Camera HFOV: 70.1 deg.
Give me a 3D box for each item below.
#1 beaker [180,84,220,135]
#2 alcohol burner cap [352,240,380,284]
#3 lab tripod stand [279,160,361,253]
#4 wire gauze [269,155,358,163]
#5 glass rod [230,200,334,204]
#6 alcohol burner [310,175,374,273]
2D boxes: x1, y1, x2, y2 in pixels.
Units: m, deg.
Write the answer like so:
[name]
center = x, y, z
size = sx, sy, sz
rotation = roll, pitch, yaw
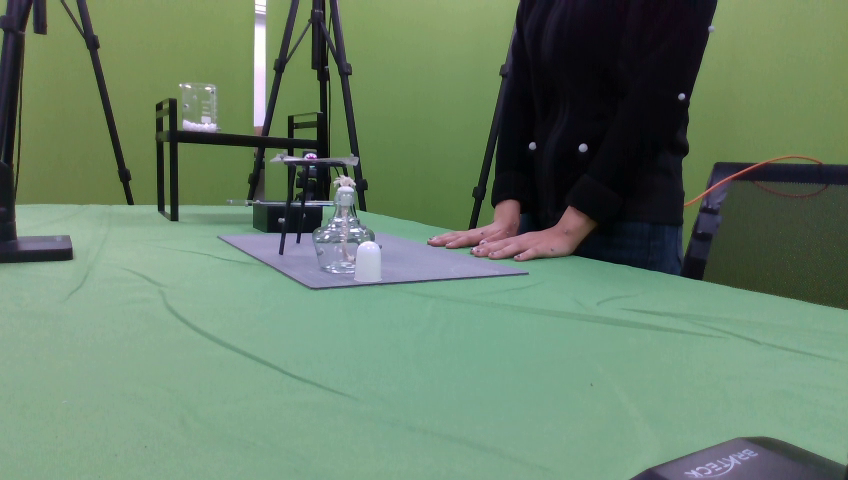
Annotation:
[beaker]
center = -0.475, -0.275, 1.281
size = 0.073, 0.100, 0.084
rotation = 7, 9, 36
[alcohol burner cap]
center = -0.065, 0.023, 0.690
size = 0.034, 0.048, 0.034
rotation = 3, 10, 0
[lab tripod stand]
center = -0.166, -0.052, 0.897
size = 0.148, 0.131, 0.148
rotation = 0, 7, 0
[wire gauze]
center = -0.159, -0.118, 0.886
size = 0.122, 0.011, 0.125
rotation = 1, 7, -9
[glass rod]
center = -0.267, -0.072, 1.155
size = 0.201, 0.008, 0.008
rotation = -1, 8, -28
[alcohol burner]
center = -0.100, -0.020, 0.741
size = 0.078, 0.119, 0.078
rotation = 1, 6, 0
